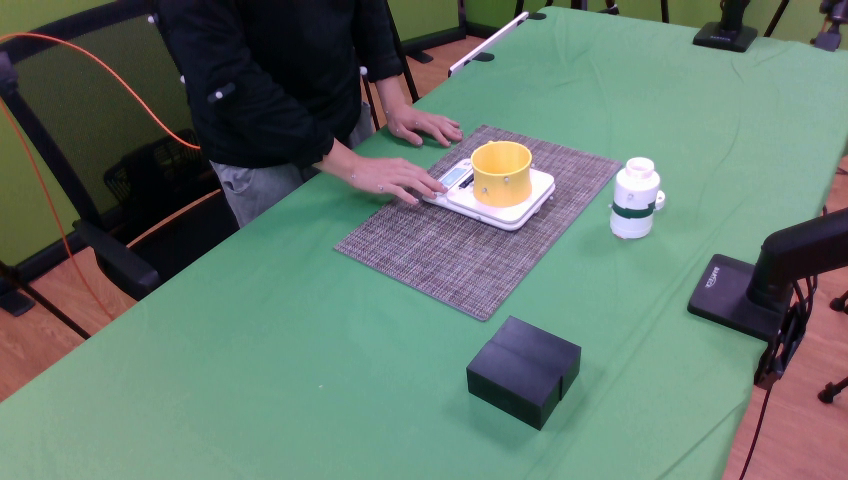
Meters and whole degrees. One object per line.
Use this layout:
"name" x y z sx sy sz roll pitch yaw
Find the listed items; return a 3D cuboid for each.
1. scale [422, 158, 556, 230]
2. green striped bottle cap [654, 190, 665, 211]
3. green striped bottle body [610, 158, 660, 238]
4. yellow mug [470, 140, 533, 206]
"scale" 0.110 -0.088 1.042 0.199 0.032 0.149 22 48 31
"green striped bottle cap" 0.375 -0.066 0.998 0.044 0.020 0.044 -8 37 7
"green striped bottle body" 0.323 -0.066 0.924 0.063 0.120 0.063 -4 41 4
"yellow mug" 0.124 -0.121 1.004 0.100 0.064 0.130 -13 41 -5
